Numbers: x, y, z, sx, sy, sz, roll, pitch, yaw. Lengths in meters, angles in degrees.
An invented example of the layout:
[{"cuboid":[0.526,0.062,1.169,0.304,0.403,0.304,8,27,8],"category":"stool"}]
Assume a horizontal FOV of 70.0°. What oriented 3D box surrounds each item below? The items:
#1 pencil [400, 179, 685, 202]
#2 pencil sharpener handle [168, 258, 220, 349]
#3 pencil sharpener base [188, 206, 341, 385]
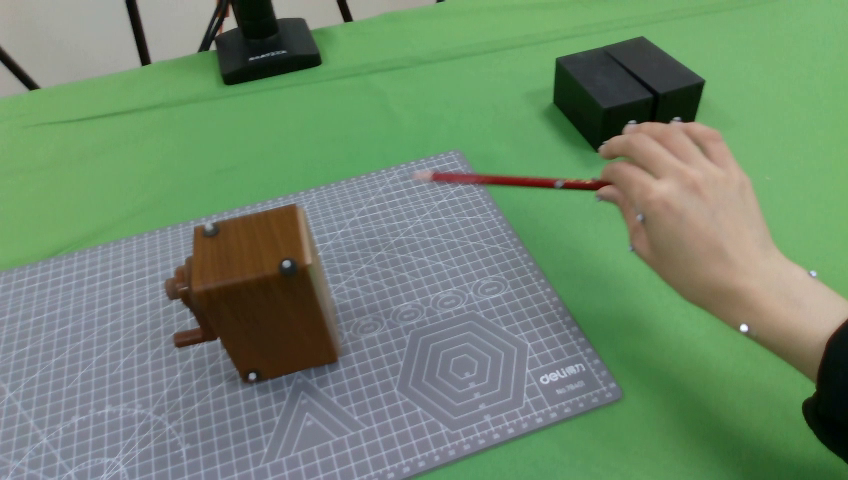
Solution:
[{"cuboid":[0.079,-0.035,0.419,0.194,0.012,0.012,3,45,5],"category":"pencil"},{"cuboid":[-0.155,0.045,0.393,0.031,0.068,0.035,-14,39,-7],"category":"pencil sharpener handle"},{"cuboid":[-0.105,0.041,0.409,0.077,0.108,0.060,-14,45,-7],"category":"pencil sharpener base"}]
